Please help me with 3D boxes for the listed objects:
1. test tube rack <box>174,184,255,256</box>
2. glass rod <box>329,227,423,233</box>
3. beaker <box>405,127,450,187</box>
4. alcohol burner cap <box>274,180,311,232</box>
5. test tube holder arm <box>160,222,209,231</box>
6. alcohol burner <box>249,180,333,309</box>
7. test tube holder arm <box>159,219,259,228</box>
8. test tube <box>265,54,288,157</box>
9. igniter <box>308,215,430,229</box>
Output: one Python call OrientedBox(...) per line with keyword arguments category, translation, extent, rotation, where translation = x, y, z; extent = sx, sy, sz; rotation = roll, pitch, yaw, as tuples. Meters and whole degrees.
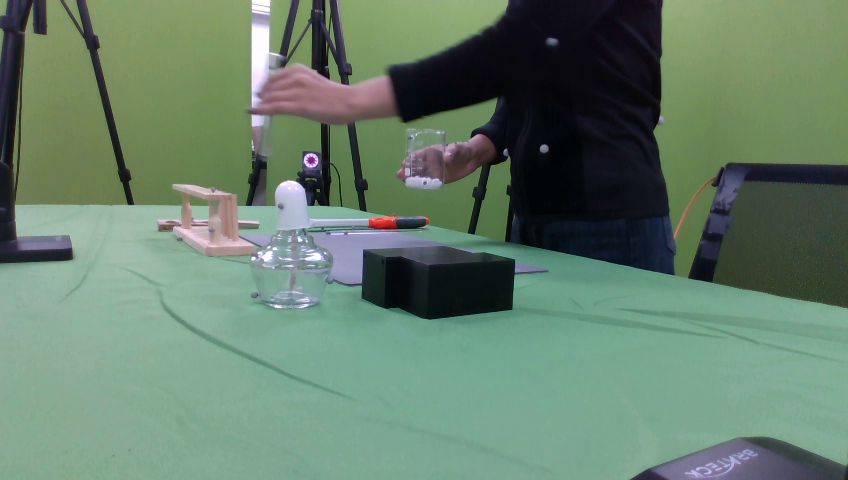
OrientedBox(category="test tube rack", translation=(-0.327, -0.036, 0.928), extent=(0.067, 0.085, 0.241), rotation=(-2, 9, -32))
OrientedBox(category="glass rod", translation=(-0.087, -0.019, 1.148), extent=(0.201, 0.008, 0.008), rotation=(-3, 8, -32))
OrientedBox(category="beaker", translation=(0.002, -0.143, 1.041), extent=(0.074, 0.100, 0.083), rotation=(-5, 11, -41))
OrientedBox(category="alcohol burner cap", translation=(-0.125, -0.032, 0.563), extent=(0.034, 0.048, 0.034), rotation=(-5, 6, 1))
OrientedBox(category="test tube holder arm", translation=(-0.423, -0.024, 1.076), extent=(0.088, 0.015, 0.010), rotation=(-2, 45, -38))
OrientedBox(category="alcohol burner", translation=(-0.125, 0.004, 0.568), extent=(0.078, 0.119, 0.078), rotation=(1, 9, 0))
OrientedBox(category="test tube holder arm", translation=(-0.390, -0.030, 1.107), extent=(0.179, 0.015, 0.013), rotation=(-3, 46, -39))
OrientedBox(category="test tube", translation=(-0.218, -0.197, 0.891), extent=(0.017, 0.150, 0.017), rotation=(11, 14, -2))
OrientedBox(category="igniter", translation=(-0.108, -0.037, 1.228), extent=(0.278, 0.025, 0.057), rotation=(-3, -1, -35))
